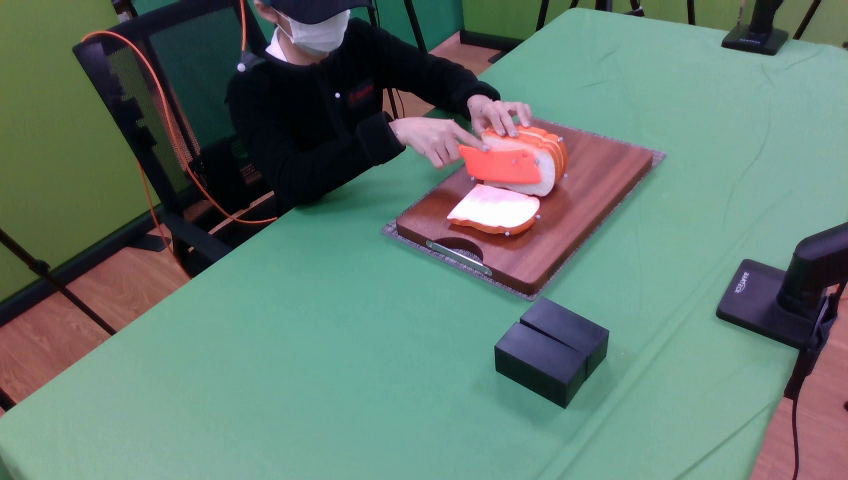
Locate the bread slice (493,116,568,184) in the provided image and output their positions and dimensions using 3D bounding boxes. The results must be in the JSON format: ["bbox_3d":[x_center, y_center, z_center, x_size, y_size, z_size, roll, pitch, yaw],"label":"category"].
[{"bbox_3d":[0.174,-0.143,1.014,0.133,0.107,0.018,22,51,21],"label":"bread slice"}]

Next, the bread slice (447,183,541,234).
[{"bbox_3d":[0.117,-0.047,0.964,0.130,0.019,0.105,17,44,31],"label":"bread slice"}]

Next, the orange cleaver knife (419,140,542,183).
[{"bbox_3d":[0.091,-0.129,1.002,0.210,0.077,0.012,11,49,24],"label":"orange cleaver knife"}]
